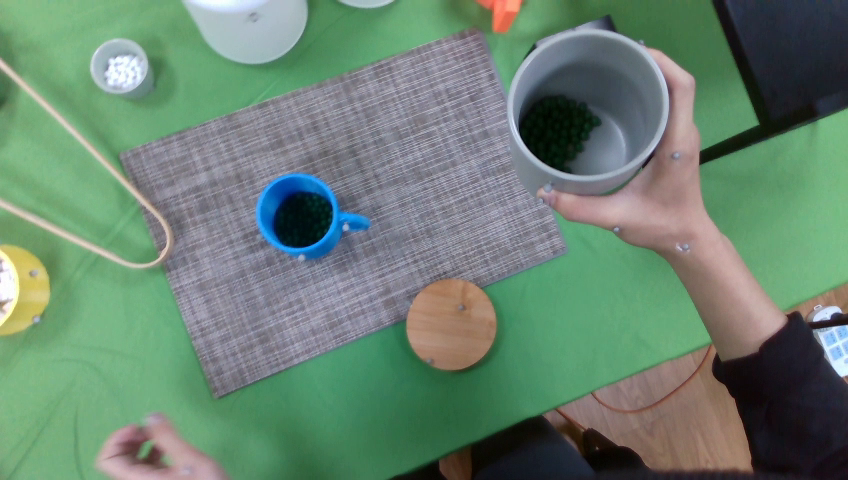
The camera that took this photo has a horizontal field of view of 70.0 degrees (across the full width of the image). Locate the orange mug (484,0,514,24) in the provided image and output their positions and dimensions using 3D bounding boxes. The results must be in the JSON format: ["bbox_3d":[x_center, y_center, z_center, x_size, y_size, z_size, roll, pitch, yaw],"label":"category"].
[{"bbox_3d":[0.092,-0.327,0.715,0.083,0.101,0.126,1,82,-5],"label":"orange mug"}]

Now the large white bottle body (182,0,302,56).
[{"bbox_3d":[-0.202,-0.288,0.636,0.131,0.184,0.130,0,86,-6],"label":"large white bottle body"}]

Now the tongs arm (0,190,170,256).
[{"bbox_3d":[-0.464,-0.076,0.649,0.386,0.026,0.050,31,80,-11],"label":"tongs arm"}]

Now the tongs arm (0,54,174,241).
[{"bbox_3d":[-0.416,-0.144,0.661,0.389,0.027,0.028,45,74,-9],"label":"tongs arm"}]

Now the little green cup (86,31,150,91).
[{"bbox_3d":[-0.345,-0.200,0.689,0.062,0.038,0.061,0,87,-7],"label":"little green cup"}]

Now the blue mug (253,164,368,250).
[{"bbox_3d":[-0.120,-0.032,0.666,0.117,0.106,0.082,4,85,-6],"label":"blue mug"}]

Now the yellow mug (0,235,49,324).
[{"bbox_3d":[-0.475,0.057,0.645,0.100,0.064,0.130,17,86,-5],"label":"yellow mug"}]

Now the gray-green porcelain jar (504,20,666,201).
[{"bbox_3d":[0.116,-0.088,0.460,0.105,0.127,0.105,-1,83,9],"label":"gray-green porcelain jar"}]

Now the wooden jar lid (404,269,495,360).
[{"bbox_3d":[0.030,0.088,0.721,0.108,0.020,0.108,0,90,-6],"label":"wooden jar lid"}]
